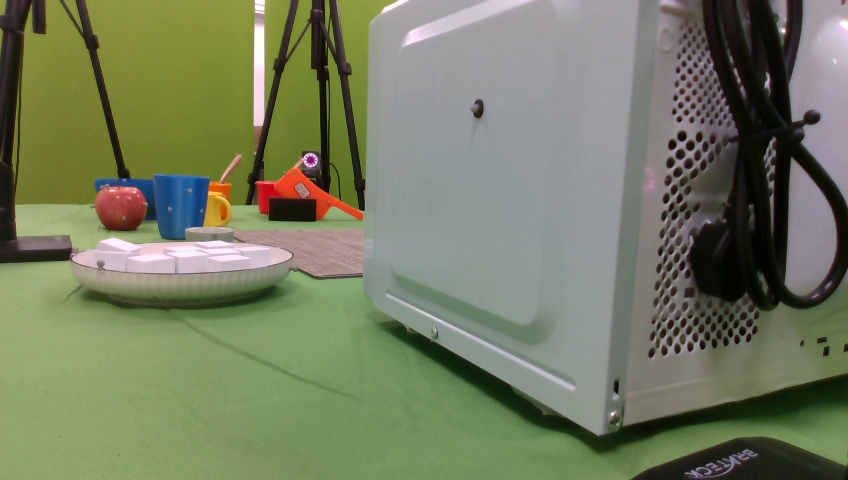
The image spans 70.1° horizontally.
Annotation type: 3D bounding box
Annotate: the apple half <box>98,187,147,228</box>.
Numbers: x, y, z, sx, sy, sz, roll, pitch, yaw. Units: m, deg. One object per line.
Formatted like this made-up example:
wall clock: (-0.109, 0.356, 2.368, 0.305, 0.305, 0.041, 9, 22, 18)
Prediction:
apple half: (-0.534, -0.059, 1.071, 0.082, 0.081, 0.032, -1, 11, -25)

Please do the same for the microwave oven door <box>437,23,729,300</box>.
microwave oven door: (0.181, -0.072, 0.621, 0.358, 0.243, 0.039, -2, 9, -29)

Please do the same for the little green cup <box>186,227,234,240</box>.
little green cup: (-0.285, 0.005, 0.805, 0.061, 0.038, 0.061, 2, 8, 0)

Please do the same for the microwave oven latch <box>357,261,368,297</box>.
microwave oven latch: (-0.019, 0.033, 0.530, 0.079, 0.029, 0.030, -1, 7, -27)

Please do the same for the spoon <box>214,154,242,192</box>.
spoon: (-0.439, -0.124, 1.318, 0.041, 0.193, 0.022, 6, -36, 16)

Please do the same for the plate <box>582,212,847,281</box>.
plate: (0.239, 0.002, 0.510, 0.209, 0.038, 0.209, 2, 7, 0)

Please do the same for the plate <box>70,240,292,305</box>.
plate: (-0.242, 0.031, 0.618, 0.208, 0.039, 0.207, 2, 8, 0)

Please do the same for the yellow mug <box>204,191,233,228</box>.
yellow mug: (-0.415, -0.057, 1.132, 0.130, 0.064, 0.100, 6, 8, 16)

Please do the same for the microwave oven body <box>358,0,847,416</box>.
microwave oven body: (0.211, -0.047, 0.474, 0.444, 0.260, 0.324, -1, 7, -28)

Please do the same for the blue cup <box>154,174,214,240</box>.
blue cup: (-0.391, -0.053, 0.978, 0.093, 0.100, 0.092, 4, 6, 0)

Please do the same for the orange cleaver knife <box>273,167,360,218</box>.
orange cleaver knife: (-0.238, -0.091, 1.381, 0.212, 0.077, 0.012, 31, 0, -19)

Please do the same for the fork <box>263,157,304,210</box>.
fork: (-0.345, -0.143, 1.506, 0.028, 0.019, 0.207, -4, 46, 28)

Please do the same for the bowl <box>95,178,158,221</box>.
bowl: (-0.576, -0.081, 1.217, 0.151, 0.077, 0.151, 3, 8, 0)

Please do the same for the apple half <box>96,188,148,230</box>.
apple half: (-0.517, -0.052, 1.036, 0.081, 0.074, 0.053, 2, 10, -26)
